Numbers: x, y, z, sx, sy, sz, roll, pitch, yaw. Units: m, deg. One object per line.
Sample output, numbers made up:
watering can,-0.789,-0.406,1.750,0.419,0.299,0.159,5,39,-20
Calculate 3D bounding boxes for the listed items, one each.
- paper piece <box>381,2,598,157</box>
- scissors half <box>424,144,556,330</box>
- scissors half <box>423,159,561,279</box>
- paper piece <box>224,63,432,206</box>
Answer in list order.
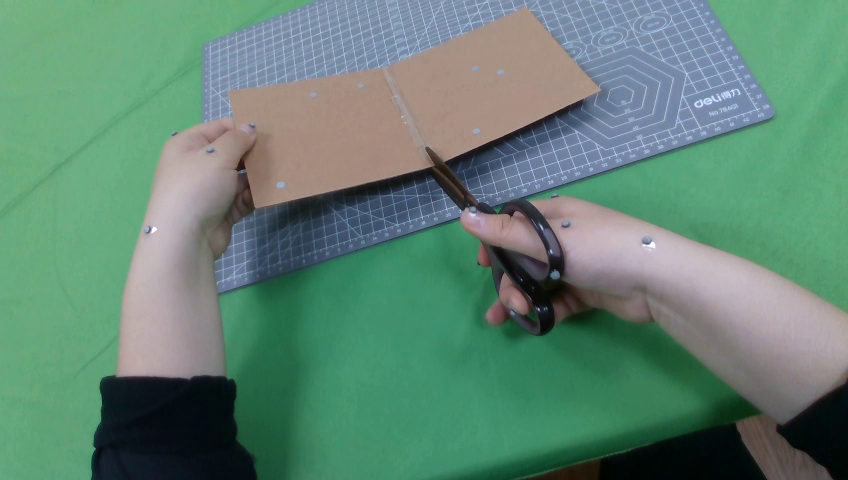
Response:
paper piece,0.046,-0.135,0.488,0.135,0.004,0.134,-23,53,-2
scissors half,0.037,-0.010,0.408,0.013,0.040,0.173,-21,57,-14
scissors half,0.035,-0.026,0.393,0.013,0.040,0.173,-17,30,-18
paper piece,-0.079,-0.090,0.474,0.138,0.009,0.134,-15,49,-11
